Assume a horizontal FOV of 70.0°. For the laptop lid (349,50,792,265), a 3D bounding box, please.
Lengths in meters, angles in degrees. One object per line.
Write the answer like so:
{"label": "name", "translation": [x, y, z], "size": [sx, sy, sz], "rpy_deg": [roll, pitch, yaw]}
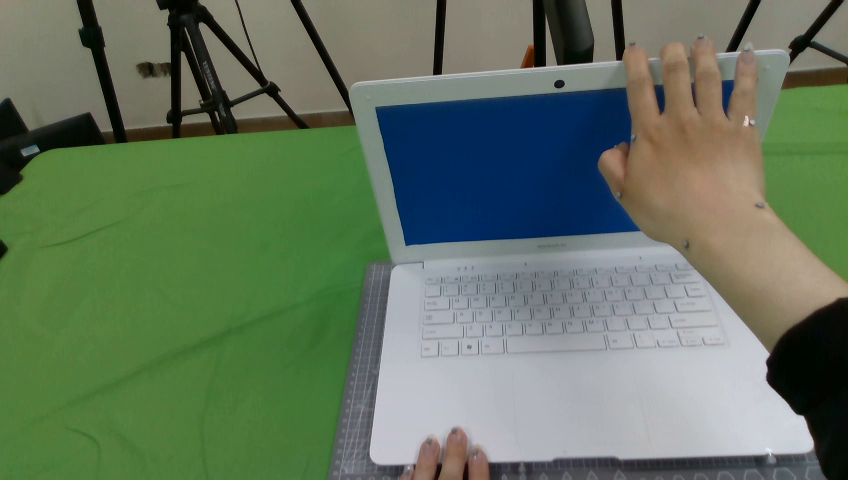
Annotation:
{"label": "laptop lid", "translation": [0.125, -0.059, 0.567], "size": [0.356, 0.244, 0.013], "rpy_deg": [-5, 49, 8]}

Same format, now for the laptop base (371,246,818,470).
{"label": "laptop base", "translation": [0.135, 0.102, 0.567], "size": [0.354, 0.023, 0.233], "rpy_deg": [-4, 45, 6]}
